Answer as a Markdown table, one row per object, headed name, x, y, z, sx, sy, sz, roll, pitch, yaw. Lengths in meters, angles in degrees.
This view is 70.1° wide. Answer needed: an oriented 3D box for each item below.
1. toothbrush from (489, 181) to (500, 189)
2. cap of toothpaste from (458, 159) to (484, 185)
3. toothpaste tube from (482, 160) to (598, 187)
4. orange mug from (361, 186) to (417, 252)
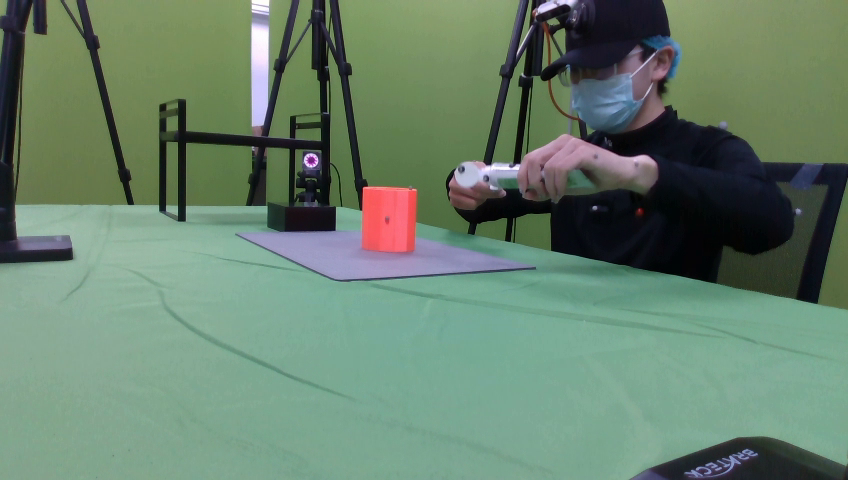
| name | x | y | z | sx | sy | sz | roll | pitch | yaw |
| --- | --- | --- | --- | --- | --- | --- | --- | --- | --- |
| toothbrush | 0.116 | -0.096 | 0.995 | 0.014 | 0.016 | 0.182 | 0 | 7 | 5 |
| cap of toothpaste | 0.065 | -0.095 | 0.843 | 0.037 | 0.037 | 0.011 | 4 | 12 | 12 |
| toothpaste tube | 0.145 | -0.088 | 0.804 | 0.164 | 0.034 | 0.055 | 9 | -9 | 40 |
| orange mug | -0.054 | -0.039 | 0.962 | 0.083 | 0.101 | 0.126 | 2 | 12 | 0 |
